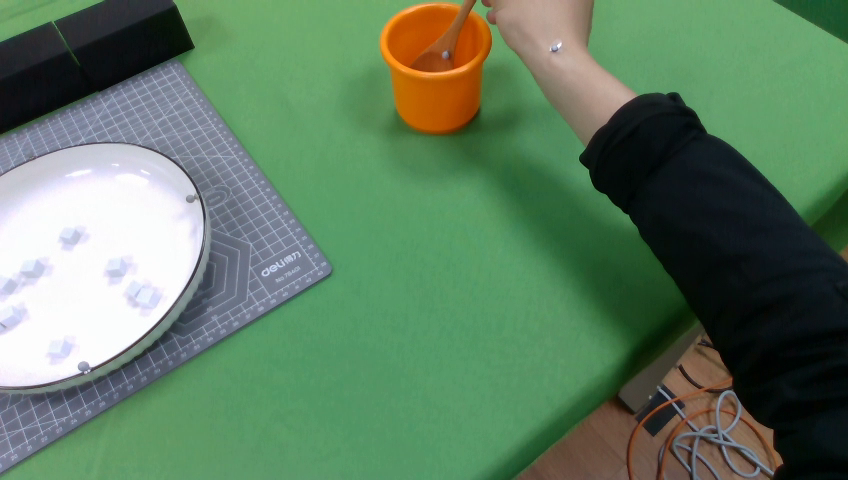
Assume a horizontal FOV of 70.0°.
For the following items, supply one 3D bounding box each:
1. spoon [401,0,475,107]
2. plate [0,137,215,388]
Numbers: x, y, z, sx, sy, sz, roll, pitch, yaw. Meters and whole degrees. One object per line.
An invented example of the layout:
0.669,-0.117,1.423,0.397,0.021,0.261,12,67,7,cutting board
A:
0.037,-0.193,0.493,0.041,0.194,0.021,33,32,-2,spoon
-0.257,0.013,0.451,0.209,0.038,0.207,-1,58,1,plate
